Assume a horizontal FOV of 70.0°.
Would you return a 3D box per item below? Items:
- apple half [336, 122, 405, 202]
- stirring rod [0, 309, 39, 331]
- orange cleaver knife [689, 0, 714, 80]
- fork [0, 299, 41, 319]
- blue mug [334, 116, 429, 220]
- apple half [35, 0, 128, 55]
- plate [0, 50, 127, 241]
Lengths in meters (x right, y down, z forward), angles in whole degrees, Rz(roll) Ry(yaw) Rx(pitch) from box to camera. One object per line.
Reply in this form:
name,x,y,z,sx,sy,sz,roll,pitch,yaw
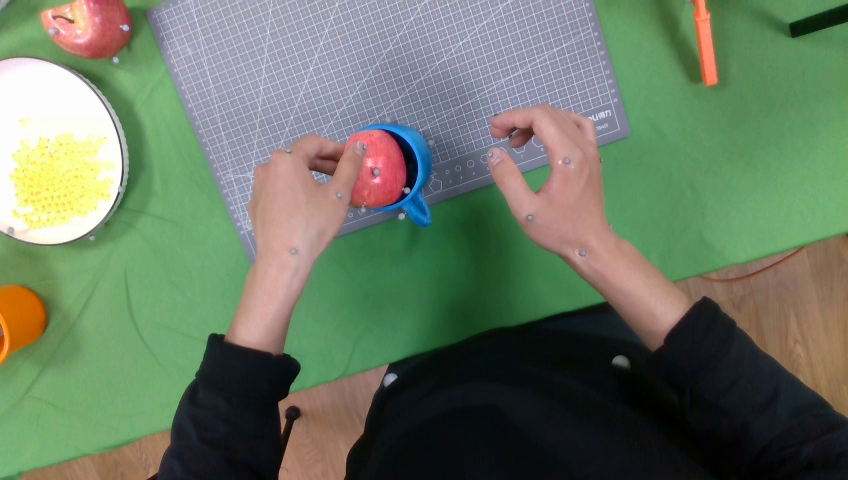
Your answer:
apple half,-0.042,-0.071,0.561,0.032,0.081,0.081,13,108,46
stirring rod,-0.537,0.113,0.685,0.176,0.006,0.014,-18,91,-33
orange cleaver knife,0.251,-0.255,0.571,0.012,0.076,0.213,-15,127,17
fork,-0.552,0.097,0.680,0.208,0.018,0.028,-11,104,-37
blue mug,-0.031,-0.070,0.620,0.082,0.105,0.117,-34,97,11
apple half,-0.349,-0.222,0.632,0.081,0.074,0.053,-15,104,4
plate,-0.432,-0.104,0.683,0.209,0.038,0.210,1,103,5
